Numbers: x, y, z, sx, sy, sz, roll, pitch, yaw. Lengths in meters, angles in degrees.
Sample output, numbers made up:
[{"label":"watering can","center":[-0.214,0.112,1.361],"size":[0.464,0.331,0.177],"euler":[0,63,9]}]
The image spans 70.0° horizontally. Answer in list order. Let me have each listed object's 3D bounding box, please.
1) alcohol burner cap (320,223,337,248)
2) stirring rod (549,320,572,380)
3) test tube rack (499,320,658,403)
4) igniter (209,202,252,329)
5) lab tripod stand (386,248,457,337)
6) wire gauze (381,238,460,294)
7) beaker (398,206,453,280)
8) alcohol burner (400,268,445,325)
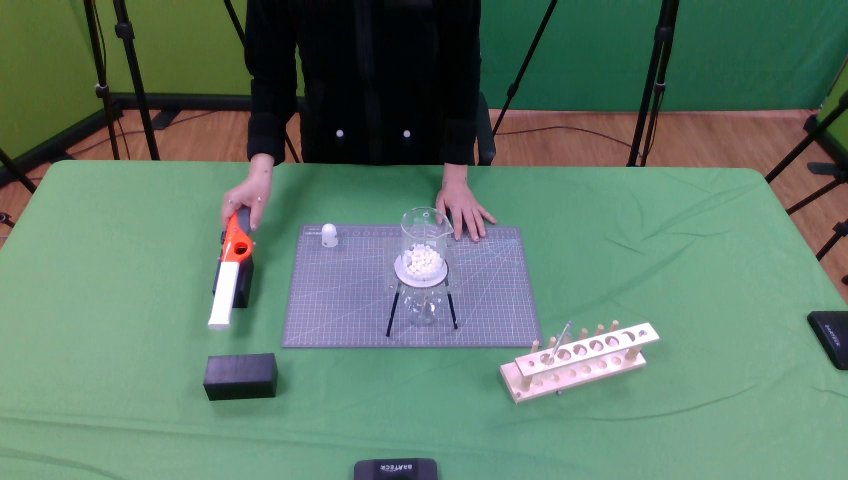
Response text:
[{"label":"alcohol burner cap","center":[-0.187,-0.011,1.176],"size":[0.034,0.048,0.033],"euler":[1,46,-1]},{"label":"stirring rod","center":[0.202,0.167,0.901],"size":[0.006,0.177,0.014],"euler":[-16,54,-10]},{"label":"test tube rack","center":[0.252,0.187,0.994],"size":[0.243,0.085,0.066],"euler":[-12,48,-15]},{"label":"igniter","center":[-0.338,0.034,1.065],"size":[0.057,0.025,0.274],"euler":[2,50,-7]},{"label":"lab tripod stand","center":[-0.010,0.087,1.032],"size":[0.148,0.132,0.147],"euler":[1,45,-1]},{"label":"wire gauze","center":[-0.007,0.042,0.985],"size":[0.125,0.011,0.120],"euler":[-1,43,-2]},{"label":"beaker","center":[0.000,0.008,0.950],"size":[0.084,0.101,0.073],"euler":[10,45,6]},{"label":"alcohol burner","center":[-0.003,0.092,1.042],"size":[0.078,0.120,0.077],"euler":[1,46,-1]}]
